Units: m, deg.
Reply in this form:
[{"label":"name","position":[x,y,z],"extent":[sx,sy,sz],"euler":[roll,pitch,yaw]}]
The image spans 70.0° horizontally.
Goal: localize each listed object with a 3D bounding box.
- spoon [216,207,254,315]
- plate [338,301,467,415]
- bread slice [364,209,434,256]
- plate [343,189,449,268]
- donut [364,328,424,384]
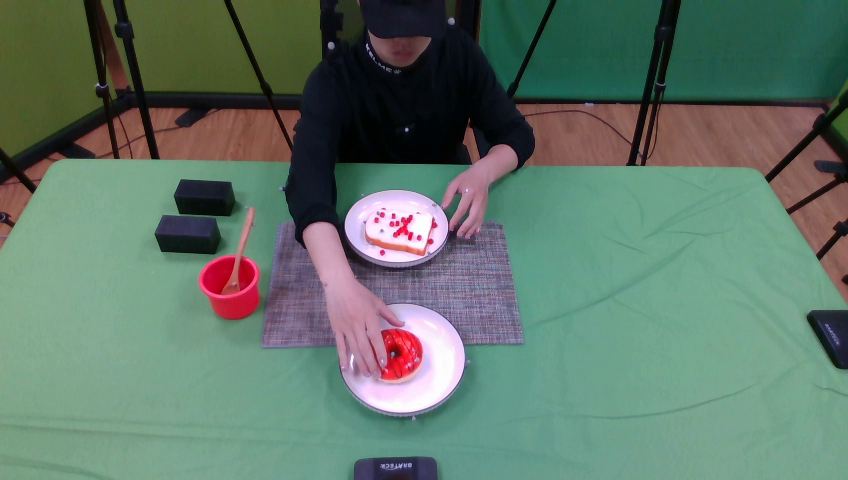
[{"label":"spoon","position":[-0.322,0.036,1.053],"extent":[0.041,0.021,0.193],"euler":[14,90,11]},{"label":"plate","position":[-0.035,0.194,0.992],"extent":[0.208,0.039,0.206],"euler":[2,48,-2]},{"label":"bread slice","position":[-0.053,-0.020,1.199],"extent":[0.131,0.019,0.104],"euler":[10,46,4]},{"label":"plate","position":[-0.055,-0.019,1.195],"extent":[0.209,0.038,0.208],"euler":[2,46,-2]},{"label":"donut","position":[-0.049,0.186,0.982],"extent":[0.099,0.048,0.098],"euler":[1,49,-1]}]
